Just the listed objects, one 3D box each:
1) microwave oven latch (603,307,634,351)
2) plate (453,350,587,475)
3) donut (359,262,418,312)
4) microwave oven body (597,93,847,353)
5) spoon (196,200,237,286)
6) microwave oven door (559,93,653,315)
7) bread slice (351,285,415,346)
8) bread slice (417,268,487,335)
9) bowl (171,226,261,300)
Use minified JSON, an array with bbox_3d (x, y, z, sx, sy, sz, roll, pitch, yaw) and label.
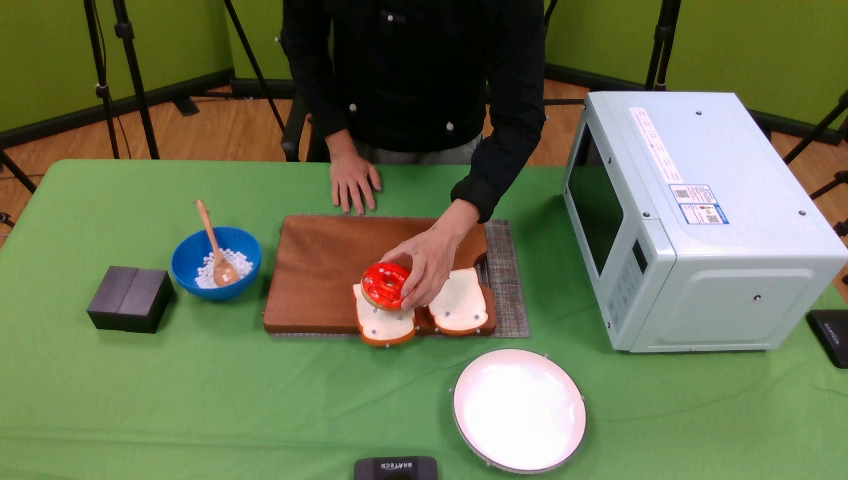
[{"bbox_3d":[0.332,0.153,1.044,0.030,0.029,0.078,0,45,-3],"label":"microwave oven latch"},{"bbox_3d":[0.147,0.267,0.943,0.208,0.039,0.206,2,45,-2],"label":"plate"},{"bbox_3d":[-0.058,0.077,0.993,0.099,0.048,0.098,10,41,-8],"label":"donut"},{"bbox_3d":[0.475,-0.041,1.109,0.326,0.261,0.438,-1,45,-4],"label":"microwave oven body"},{"bbox_3d":[-0.378,0.003,1.086,0.042,0.022,0.193,-15,67,-24],"label":"spoon"},{"bbox_3d":[0.327,-0.074,1.123,0.039,0.245,0.353,-1,46,-5],"label":"microwave oven door"},{"bbox_3d":[-0.067,0.122,1.041,0.105,0.019,0.130,-7,47,-9],"label":"bread slice"},{"bbox_3d":[0.055,0.107,1.063,0.107,0.018,0.133,-9,48,-12],"label":"bread slice"},{"bbox_3d":[-0.363,0.054,1.081,0.151,0.077,0.150,2,45,-2],"label":"bowl"}]
